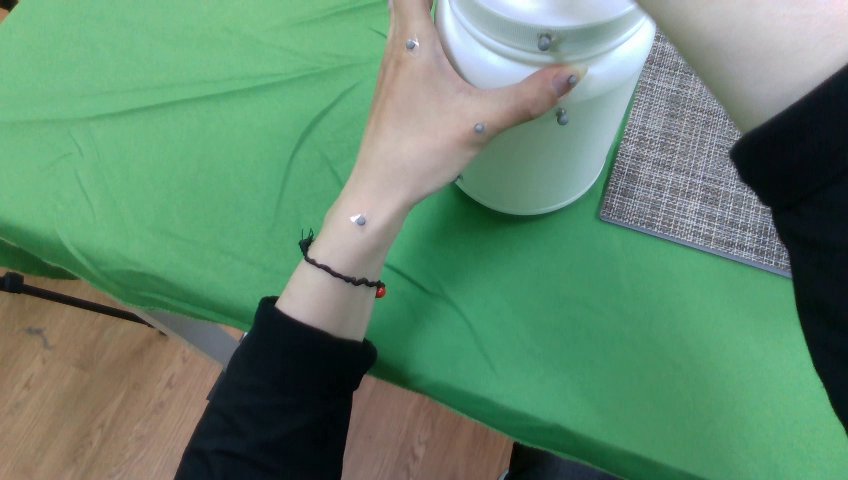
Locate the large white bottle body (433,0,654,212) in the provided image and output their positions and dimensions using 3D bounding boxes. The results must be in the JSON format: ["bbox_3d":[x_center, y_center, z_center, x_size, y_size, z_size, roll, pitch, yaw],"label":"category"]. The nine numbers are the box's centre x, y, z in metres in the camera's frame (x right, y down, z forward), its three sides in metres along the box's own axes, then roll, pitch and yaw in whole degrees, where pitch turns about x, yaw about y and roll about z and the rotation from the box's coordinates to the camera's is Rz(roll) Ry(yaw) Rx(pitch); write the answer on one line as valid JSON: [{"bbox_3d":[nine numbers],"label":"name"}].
[{"bbox_3d":[0.072,-0.115,0.401,0.130,0.186,0.129,-1,66,2],"label":"large white bottle body"}]

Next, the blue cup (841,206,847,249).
[{"bbox_3d":[0.327,-0.024,0.390,0.092,0.101,0.092,-2,64,3],"label":"blue cup"}]

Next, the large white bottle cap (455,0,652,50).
[{"bbox_3d":[0.069,-0.151,0.323,0.115,0.018,0.114,-1,66,2],"label":"large white bottle cap"}]
